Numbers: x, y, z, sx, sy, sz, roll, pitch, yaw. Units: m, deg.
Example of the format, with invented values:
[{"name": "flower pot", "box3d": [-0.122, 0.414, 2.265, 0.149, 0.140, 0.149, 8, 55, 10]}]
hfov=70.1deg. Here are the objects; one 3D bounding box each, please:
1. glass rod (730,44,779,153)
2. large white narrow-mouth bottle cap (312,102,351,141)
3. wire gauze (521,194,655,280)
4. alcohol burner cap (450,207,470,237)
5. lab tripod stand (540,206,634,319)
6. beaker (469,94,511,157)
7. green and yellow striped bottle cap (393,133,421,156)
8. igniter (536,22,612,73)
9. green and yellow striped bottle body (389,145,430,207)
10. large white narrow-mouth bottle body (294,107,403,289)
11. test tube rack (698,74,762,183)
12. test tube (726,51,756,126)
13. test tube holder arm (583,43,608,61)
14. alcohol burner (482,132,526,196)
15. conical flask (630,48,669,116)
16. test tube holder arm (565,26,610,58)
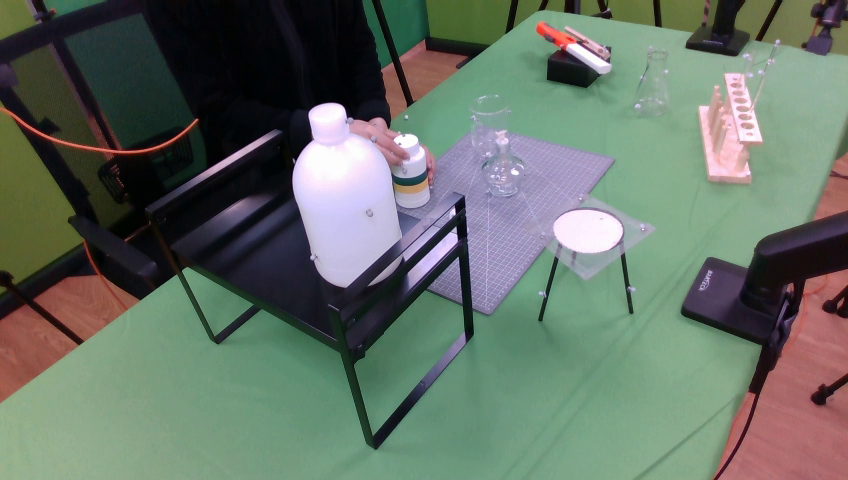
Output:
[{"name": "glass rod", "box3d": [0.555, -0.234, 1.020, 0.008, 0.200, 0.008, 2, 40, -1]}, {"name": "large white narrow-mouth bottle cap", "box3d": [-0.089, -0.113, 0.579, 0.038, 0.024, 0.037, -4, 39, 3]}, {"name": "wire gauze", "box3d": [0.207, -0.012, 0.772, 0.122, 0.011, 0.124, -28, 44, -20]}, {"name": "alcohol burner cap", "box3d": [0.057, -0.032, 0.987, 0.034, 0.048, 0.033, -4, 41, 4]}, {"name": "lab tripod stand", "box3d": [0.218, 0.034, 0.821, 0.148, 0.132, 0.147, -4, 42, 4]}, {"name": "beaker", "box3d": [0.124, -0.216, 1.148, 0.074, 0.101, 0.083, -21, 42, -16]}, {"name": "green and yellow striped bottle cap", "box3d": [-0.029, -0.160, 1.007, 0.045, 0.020, 0.045, -6, 39, 5]}, {"name": "igniter", "box3d": [0.330, -0.439, 1.366, 0.057, 0.025, 0.274, -12, 41, -20]}, {"name": "green and yellow striped bottle body", "box3d": [-0.025, -0.121, 1.041, 0.063, 0.120, 0.063, -4, 41, 4]}, {"name": "large white narrow-mouth bottle body", "box3d": [-0.082, -0.047, 0.634, 0.102, 0.195, 0.101, -4, 39, 4]}, {"name": "test tube rack", "box3d": [0.547, -0.208, 1.095, 0.066, 0.085, 0.242, 5, 42, 15]}, {"name": "test tube", "box3d": [0.568, -0.268, 1.086, 0.017, 0.151, 0.017, -4, 46, 4]}, {"name": "test tube holder arm", "box3d": [0.379, -0.420, 1.341, 0.010, 0.015, 0.087, -39, 41, 10]}, {"name": "alcohol burner", "box3d": [0.137, -0.136, 1.042, 0.078, 0.119, 0.077, -4, 43, 4]}, {"name": "conical flask", "box3d": [0.456, -0.317, 1.205, 0.075, 0.122, 0.075, -4, 41, 4]}, {"name": "test tube holder arm", "box3d": [0.369, -0.450, 1.373, 0.013, 0.015, 0.177, -39, 41, 10]}]
